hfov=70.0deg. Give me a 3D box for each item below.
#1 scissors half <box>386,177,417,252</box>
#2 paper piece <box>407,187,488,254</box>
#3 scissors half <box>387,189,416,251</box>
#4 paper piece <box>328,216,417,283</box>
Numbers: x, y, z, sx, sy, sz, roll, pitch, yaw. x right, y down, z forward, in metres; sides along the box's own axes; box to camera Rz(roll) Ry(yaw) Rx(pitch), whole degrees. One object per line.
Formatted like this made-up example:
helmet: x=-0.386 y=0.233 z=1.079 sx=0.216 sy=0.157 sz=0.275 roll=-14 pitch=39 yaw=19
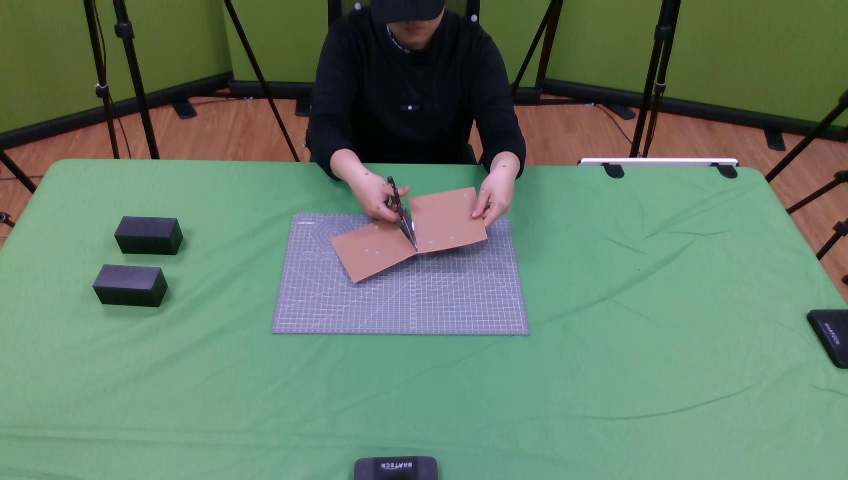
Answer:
scissors half: x=-0.044 y=-0.051 z=1.173 sx=0.013 sy=0.040 sz=0.174 roll=-19 pitch=68 yaw=-5
paper piece: x=0.043 y=-0.041 z=1.170 sx=0.138 sy=0.009 sz=0.135 roll=-9 pitch=60 yaw=-2
scissors half: x=-0.043 y=-0.039 z=1.190 sx=0.013 sy=0.040 sz=0.174 roll=-16 pitch=47 yaw=-9
paper piece: x=-0.102 y=0.013 z=1.164 sx=0.135 sy=0.004 sz=0.135 roll=-23 pitch=45 yaw=-14
